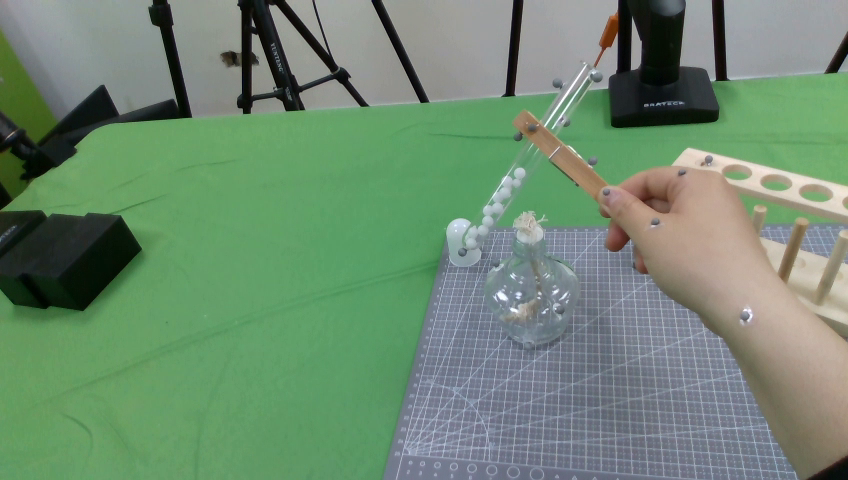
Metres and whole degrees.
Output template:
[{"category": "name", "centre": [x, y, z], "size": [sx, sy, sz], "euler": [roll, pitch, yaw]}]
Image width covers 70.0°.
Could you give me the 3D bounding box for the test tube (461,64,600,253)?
[{"category": "test tube", "centre": [0.070, -0.053, 0.418], "size": [0.150, 0.017, 0.017], "euler": [-56, 39, 17]}]

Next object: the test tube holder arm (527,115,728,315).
[{"category": "test tube holder arm", "centre": [0.127, -0.020, 0.399], "size": [0.177, 0.015, 0.013], "euler": [47, 24, 15]}]

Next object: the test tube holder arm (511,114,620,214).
[{"category": "test tube holder arm", "centre": [0.094, -0.051, 0.404], "size": [0.087, 0.015, 0.010], "euler": [44, 23, 9]}]

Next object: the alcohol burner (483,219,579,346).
[{"category": "alcohol burner", "centre": [0.084, 0.029, 0.482], "size": [0.078, 0.120, 0.077], "euler": [-6, 41, 6]}]

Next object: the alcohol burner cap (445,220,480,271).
[{"category": "alcohol burner cap", "centre": [0.036, 0.002, 0.583], "size": [0.034, 0.048, 0.033], "euler": [-7, 41, 6]}]

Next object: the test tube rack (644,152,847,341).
[{"category": "test tube rack", "centre": [0.301, 0.012, 0.467], "size": [0.240, 0.086, 0.066], "euler": [24, 52, 36]}]
